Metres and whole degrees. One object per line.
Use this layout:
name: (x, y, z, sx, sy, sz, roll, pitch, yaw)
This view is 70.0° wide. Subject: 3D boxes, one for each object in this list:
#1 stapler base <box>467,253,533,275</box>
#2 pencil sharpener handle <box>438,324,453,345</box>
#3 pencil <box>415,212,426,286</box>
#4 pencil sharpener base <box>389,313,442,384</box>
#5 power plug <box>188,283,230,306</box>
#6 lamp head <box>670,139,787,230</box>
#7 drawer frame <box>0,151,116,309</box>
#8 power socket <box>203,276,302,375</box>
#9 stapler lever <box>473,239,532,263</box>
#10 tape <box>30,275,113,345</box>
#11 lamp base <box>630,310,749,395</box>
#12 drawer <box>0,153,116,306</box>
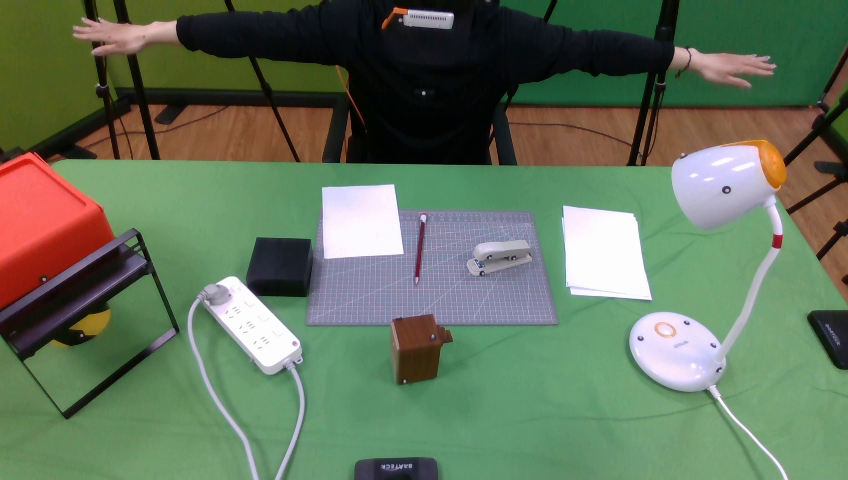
stapler base: (0.148, 0.034, 1.171, 0.131, 0.024, 0.041, -12, 50, -18)
pencil sharpener handle: (0.036, 0.155, 0.976, 0.031, 0.068, 0.036, -8, 70, -11)
pencil: (-0.007, 0.014, 1.190, 0.012, 0.012, 0.193, 5, 48, 1)
pencil sharpener base: (-0.013, 0.175, 0.971, 0.077, 0.107, 0.061, -8, 47, -11)
power plug: (-0.368, 0.099, 1.037, 0.072, 0.053, 0.035, -24, 52, -26)
lamp head: (0.415, -0.079, 0.812, 0.113, 0.123, 0.112, 13, 70, -37)
drawer frame: (-0.604, -0.013, 0.876, 0.201, 0.083, 0.213, 31, 52, 23)
power socket: (-0.297, 0.141, 1.034, 0.072, 0.033, 0.225, -34, 58, -30)
stapler lever: (0.150, 0.017, 1.155, 0.118, 0.040, 0.026, -13, 50, -17)
tape: (-0.594, 0.117, 1.022, 0.117, 0.053, 0.116, 2, 45, -2)
lamp base: (0.447, 0.142, 0.984, 0.161, 0.181, 0.178, -24, 55, -24)
drawer: (-0.601, -0.015, 0.880, 0.193, 0.073, 0.211, 32, 53, 23)
